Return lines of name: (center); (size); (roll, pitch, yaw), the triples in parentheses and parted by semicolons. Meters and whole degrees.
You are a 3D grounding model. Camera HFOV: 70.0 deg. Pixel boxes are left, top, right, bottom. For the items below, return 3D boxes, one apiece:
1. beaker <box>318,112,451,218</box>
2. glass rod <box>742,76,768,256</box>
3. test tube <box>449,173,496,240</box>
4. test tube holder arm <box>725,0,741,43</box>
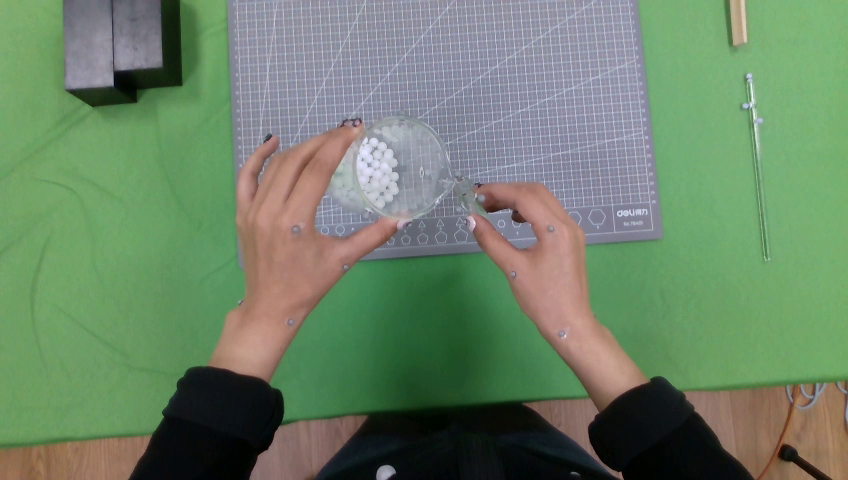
beaker: (-0.035, -0.055, 0.470); (0.084, 0.099, 0.074); (13, 89, -25)
glass rod: (0.356, -0.081, 0.654); (0.008, 0.008, 0.199); (-3, 84, -1)
test tube: (0.045, -0.024, 0.523); (0.017, 0.151, 0.017); (-4, 75, 14)
test tube holder arm: (0.340, -0.305, 0.669); (0.013, 0.015, 0.178); (5, 84, -29)
